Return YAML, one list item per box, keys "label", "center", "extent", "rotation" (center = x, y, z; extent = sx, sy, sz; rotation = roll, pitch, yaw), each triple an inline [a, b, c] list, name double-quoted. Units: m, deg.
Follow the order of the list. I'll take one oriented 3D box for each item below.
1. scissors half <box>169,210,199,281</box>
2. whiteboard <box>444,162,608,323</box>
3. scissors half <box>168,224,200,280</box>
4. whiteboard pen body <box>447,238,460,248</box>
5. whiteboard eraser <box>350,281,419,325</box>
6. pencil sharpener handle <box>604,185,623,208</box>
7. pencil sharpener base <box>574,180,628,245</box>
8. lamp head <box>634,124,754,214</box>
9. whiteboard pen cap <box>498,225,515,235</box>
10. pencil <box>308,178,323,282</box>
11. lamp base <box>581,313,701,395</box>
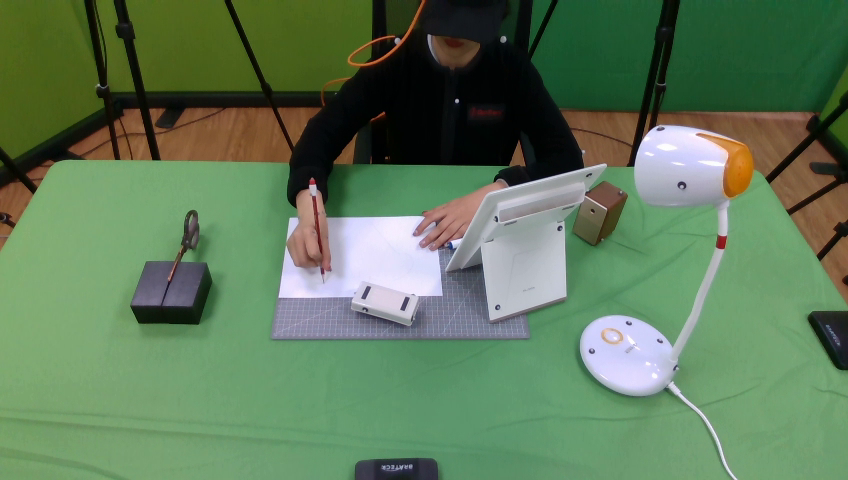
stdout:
- label: "scissors half"
  center: [-0.438, 0.007, 1.098]
  extent: [0.013, 0.040, 0.174]
  rotation: [3, 48, -3]
- label: "whiteboard"
  center: [0.186, 0.025, 1.029]
  extent: [0.217, 0.306, 0.143]
  rotation: [-14, 68, -18]
- label: "scissors half"
  center: [-0.440, 0.023, 1.111]
  extent: [0.013, 0.040, 0.174]
  rotation: [7, 29, -6]
- label: "whiteboard pen body"
  center: [0.112, -0.005, 1.203]
  extent: [0.141, 0.017, 0.017]
  rotation: [-13, 49, -18]
- label: "whiteboard eraser"
  center: [-0.069, 0.113, 1.065]
  extent: [0.112, 0.042, 0.055]
  rotation: [14, 46, 10]
- label: "pencil sharpener handle"
  center: [0.390, -0.091, 1.235]
  extent: [0.030, 0.068, 0.036]
  rotation: [-33, 70, -31]
- label: "pencil sharpener base"
  center: [0.355, -0.056, 1.217]
  extent: [0.076, 0.107, 0.061]
  rotation: [-33, 56, -31]
- label: "lamp head"
  center: [0.351, -0.089, 0.776]
  extent: [0.112, 0.113, 0.122]
  rotation: [-30, 30, -28]
- label: "whiteboard pen cap"
  center: [0.166, -0.019, 1.222]
  extent: [0.033, 0.018, 0.018]
  rotation: [-14, 49, -19]
- label: "pencil"
  center: [-0.194, -0.016, 1.092]
  extent: [0.012, 0.194, 0.012]
  rotation: [-3, 15, 1]
- label: "lamp base"
  center: [0.361, 0.144, 0.973]
  extent: [0.178, 0.181, 0.160]
  rotation: [34, 53, 23]
